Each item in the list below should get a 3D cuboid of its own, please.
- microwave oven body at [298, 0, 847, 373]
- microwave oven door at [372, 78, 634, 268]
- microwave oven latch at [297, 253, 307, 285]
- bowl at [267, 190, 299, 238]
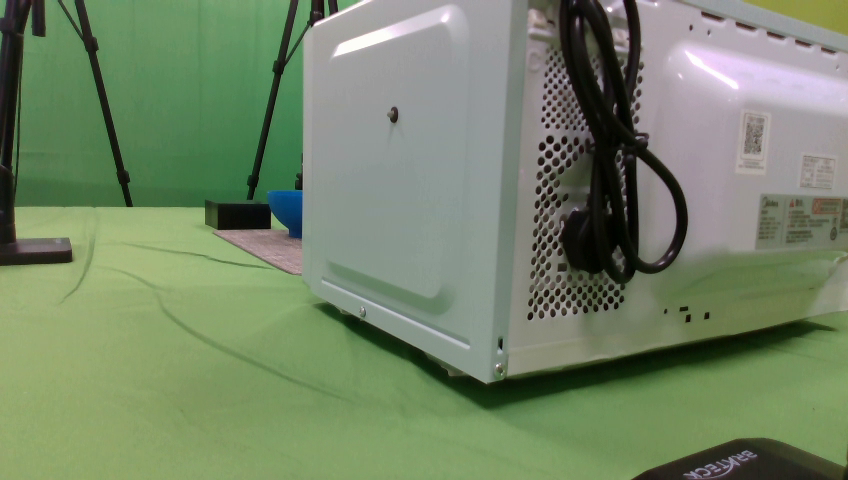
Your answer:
[{"bbox_3d":[0.151,-0.055,0.543,0.444,0.260,0.324,-1,7,-33],"label":"microwave oven body"},{"bbox_3d":[0.096,-0.099,0.837,0.355,0.243,0.039,5,8,20],"label":"microwave oven door"},{"bbox_3d":[-0.082,0.027,0.582,0.079,0.029,0.030,-1,7,-32],"label":"microwave oven latch"},{"bbox_3d":[-0.202,-0.046,1.069,0.151,0.077,0.151,3,7,0],"label":"bowl"}]
